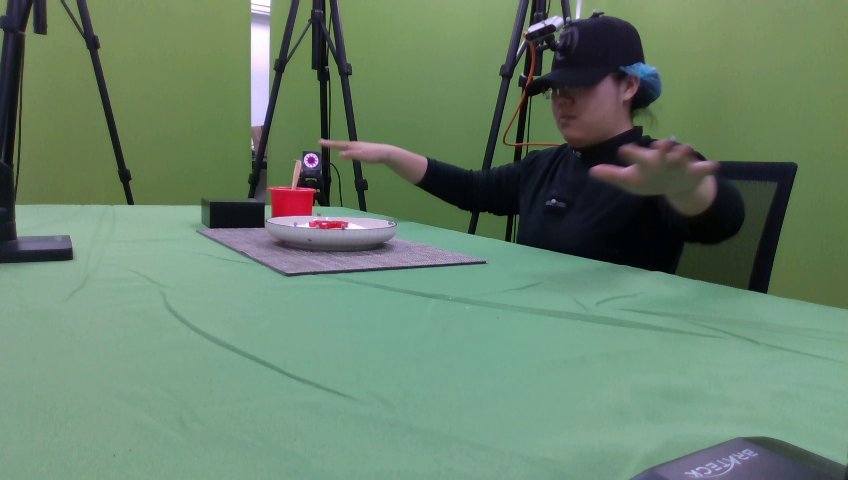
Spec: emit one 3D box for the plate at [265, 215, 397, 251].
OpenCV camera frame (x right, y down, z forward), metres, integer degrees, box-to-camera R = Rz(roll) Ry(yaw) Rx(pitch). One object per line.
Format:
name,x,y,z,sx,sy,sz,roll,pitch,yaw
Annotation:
plate,-0.147,-0.012,0.963,0.209,0.038,0.209,3,7,0

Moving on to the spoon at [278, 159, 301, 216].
spoon,-0.275,-0.108,1.278,0.042,0.021,0.193,3,51,-3

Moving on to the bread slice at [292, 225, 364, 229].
bread slice,-0.154,-0.012,0.973,0.132,0.019,0.104,-1,7,-31
